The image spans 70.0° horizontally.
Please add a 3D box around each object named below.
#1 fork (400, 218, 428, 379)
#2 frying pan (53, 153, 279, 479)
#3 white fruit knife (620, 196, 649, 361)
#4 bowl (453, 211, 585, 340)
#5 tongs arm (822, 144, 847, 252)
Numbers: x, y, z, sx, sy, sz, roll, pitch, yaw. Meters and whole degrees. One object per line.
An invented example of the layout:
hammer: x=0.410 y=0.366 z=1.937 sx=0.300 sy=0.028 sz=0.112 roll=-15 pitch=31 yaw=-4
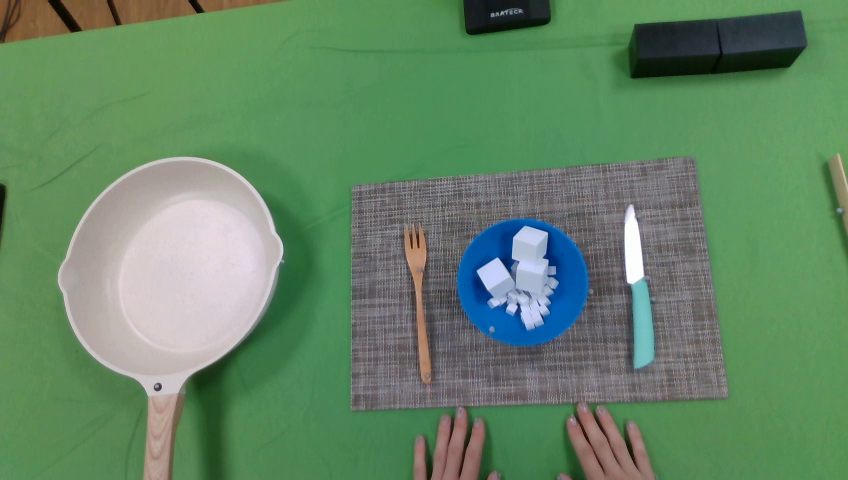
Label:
fork: x=-0.010 y=0.072 z=0.771 sx=0.028 sy=0.019 sz=0.206 roll=-5 pitch=74 yaw=-2
frying pan: x=-0.323 y=0.127 z=0.762 sx=0.306 sy=0.103 sz=0.484 roll=-6 pitch=67 yaw=8
white fruit knife: x=0.255 y=0.043 z=0.740 sx=0.027 sy=0.016 sz=0.206 roll=1 pitch=75 yaw=-3
bowl: x=0.113 y=0.048 z=0.728 sx=0.151 sy=0.077 sz=0.150 roll=-2 pitch=76 yaw=8
tongs arm: x=0.522 y=0.070 z=0.693 sx=0.028 sy=0.028 sz=0.385 roll=-9 pitch=75 yaw=4
